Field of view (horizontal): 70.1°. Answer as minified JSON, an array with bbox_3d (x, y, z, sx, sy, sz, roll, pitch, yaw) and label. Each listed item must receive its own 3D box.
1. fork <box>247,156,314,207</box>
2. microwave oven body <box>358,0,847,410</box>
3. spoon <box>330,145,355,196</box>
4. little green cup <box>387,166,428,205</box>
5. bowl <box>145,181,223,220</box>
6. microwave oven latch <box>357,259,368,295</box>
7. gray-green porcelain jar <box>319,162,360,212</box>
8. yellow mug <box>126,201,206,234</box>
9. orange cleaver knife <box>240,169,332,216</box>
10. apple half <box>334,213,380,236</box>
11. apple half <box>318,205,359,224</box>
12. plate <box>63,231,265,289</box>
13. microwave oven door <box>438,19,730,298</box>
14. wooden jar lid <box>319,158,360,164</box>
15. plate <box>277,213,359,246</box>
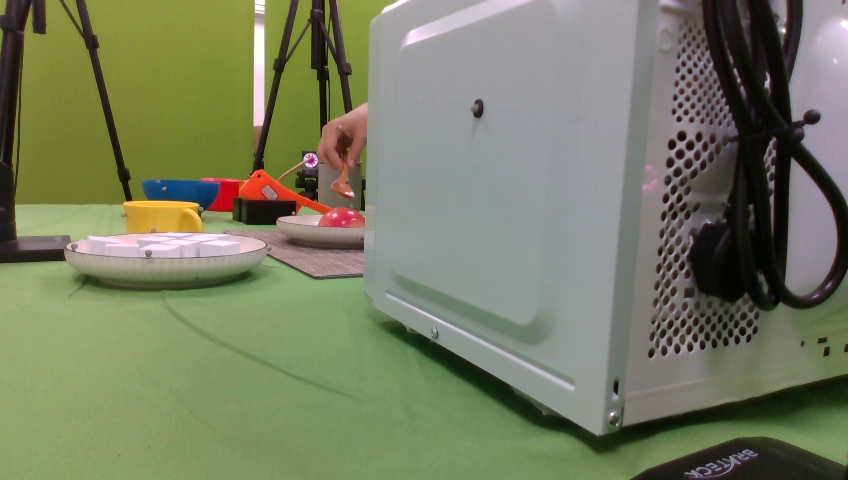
[{"bbox_3d":[-0.360,-0.147,1.523,0.207,0.018,0.028,-43,15,-7],"label":"fork"},{"bbox_3d":[0.210,-0.051,0.471,0.444,0.260,0.324,-1,7,-28],"label":"microwave oven body"},{"bbox_3d":[-0.134,-0.121,1.023,0.042,0.021,0.193,16,32,-15],"label":"spoon"},{"bbox_3d":[-0.025,-0.088,0.985,0.061,0.038,0.061,-39,-3,-2],"label":"little green cup"},{"bbox_3d":[-0.499,-0.081,1.261,0.151,0.077,0.151,2,7,0],"label":"bowl"},{"bbox_3d":[-0.019,0.031,0.529,0.079,0.029,0.030,-1,7,-26],"label":"microwave oven latch"},{"bbox_3d":[-0.204,-0.126,1.489,0.106,0.126,0.106,2,7,0],"label":"gray-green porcelain jar"},{"bbox_3d":[-0.360,-0.019,0.866,0.130,0.064,0.100,6,9,27],"label":"yellow mug"},{"bbox_3d":[-0.286,-0.082,1.298,0.212,0.077,0.012,25,-2,-31],"label":"orange cleaver knife"},{"bbox_3d":[-0.112,-0.029,1.034,0.081,0.033,0.081,-1,10,0],"label":"apple half"},{"bbox_3d":[-0.126,-0.028,0.954,0.081,0.053,0.074,-2,11,-33],"label":"apple half"},{"bbox_3d":[-0.288,0.021,0.687,0.208,0.039,0.207,2,8,0],"label":"plate"},{"bbox_3d":[0.181,-0.076,0.618,0.358,0.243,0.039,-2,8,-28],"label":"microwave oven door"},{"bbox_3d":[-0.203,-0.189,1.482,0.108,0.020,0.108,2,10,0],"label":"wooden jar lid"},{"bbox_3d":[-0.135,-0.018,0.993,0.209,0.038,0.209,2,7,0],"label":"plate"}]
